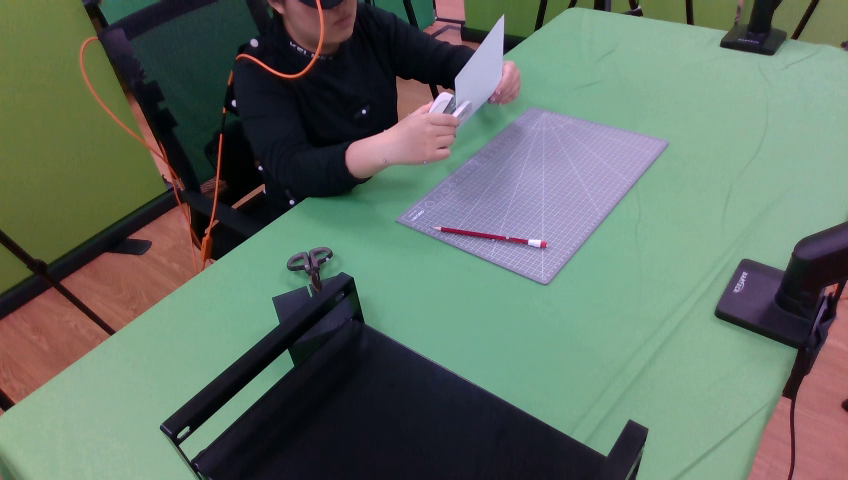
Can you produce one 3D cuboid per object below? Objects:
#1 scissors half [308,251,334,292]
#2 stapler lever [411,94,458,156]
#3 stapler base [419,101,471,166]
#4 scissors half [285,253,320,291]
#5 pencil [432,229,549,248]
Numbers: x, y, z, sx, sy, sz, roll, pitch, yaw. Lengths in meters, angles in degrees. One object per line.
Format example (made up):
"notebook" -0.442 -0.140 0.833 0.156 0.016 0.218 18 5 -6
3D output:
"scissors half" -0.159 0.046 0.913 0.040 0.013 0.174 -5 18 -4
"stapler lever" 0.014 -0.199 1.033 0.040 0.027 0.118 39 84 16
"stapler base" 0.032 -0.186 1.029 0.024 0.041 0.130 36 83 16
"scissors half" -0.178 0.049 0.909 0.040 0.013 0.174 -16 19 -20
"pencil" 0.103 -0.005 0.970 0.193 0.012 0.012 8 42 18
